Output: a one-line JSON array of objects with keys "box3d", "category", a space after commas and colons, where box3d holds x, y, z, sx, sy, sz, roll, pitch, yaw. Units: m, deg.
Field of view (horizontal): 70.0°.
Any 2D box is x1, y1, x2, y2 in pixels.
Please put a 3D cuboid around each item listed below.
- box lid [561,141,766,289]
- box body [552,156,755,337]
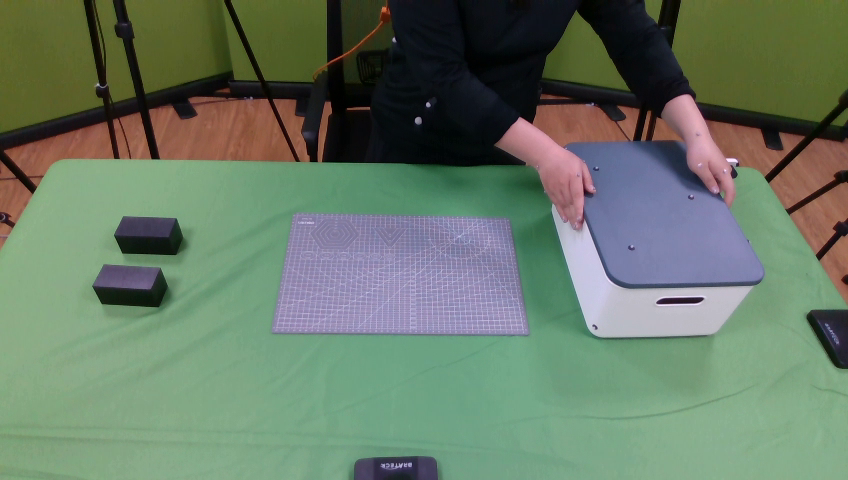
[{"box3d": [0.406, -0.058, 1.070, 0.263, 0.015, 0.369, -2, 46, -5], "category": "box lid"}, {"box3d": [0.400, -0.001, 1.131, 0.254, 0.161, 0.361, -1, 46, -5], "category": "box body"}]
